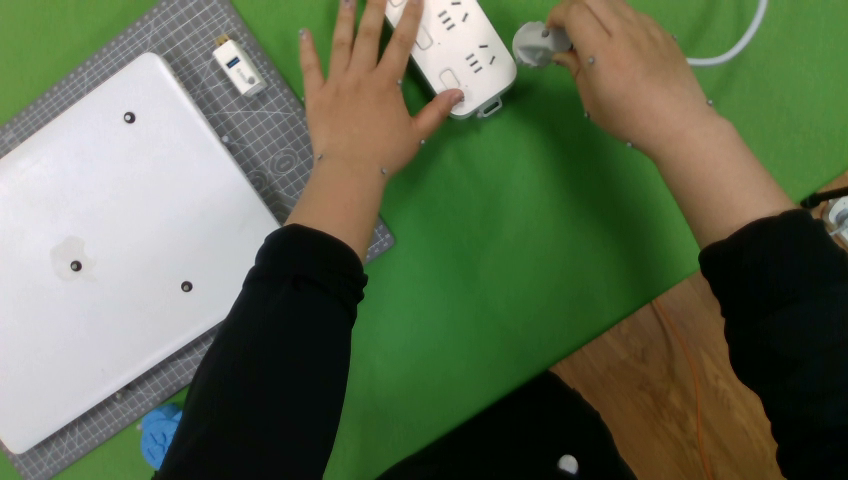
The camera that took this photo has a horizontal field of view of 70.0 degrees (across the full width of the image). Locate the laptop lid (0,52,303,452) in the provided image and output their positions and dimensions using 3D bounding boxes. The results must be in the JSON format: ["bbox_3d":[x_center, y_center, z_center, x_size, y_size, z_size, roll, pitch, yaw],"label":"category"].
[{"bbox_3d":[-0.317,0.022,0.562,0.357,0.013,0.242,-32,97,6],"label":"laptop lid"}]

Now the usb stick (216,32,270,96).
[{"bbox_3d":[-0.164,-0.159,0.538,0.021,0.027,0.059,-34,91,9],"label":"usb stick"}]

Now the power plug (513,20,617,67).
[{"bbox_3d":[0.106,-0.150,0.480,0.073,0.052,0.035,17,94,-9],"label":"power plug"}]

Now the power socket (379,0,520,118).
[{"bbox_3d":[0.002,-0.209,0.522,0.072,0.032,0.227,-33,94,8],"label":"power socket"}]

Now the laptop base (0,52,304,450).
[{"bbox_3d":[-0.317,0.019,0.574,0.354,0.023,0.236,-34,97,6],"label":"laptop base"}]

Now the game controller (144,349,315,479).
[{"bbox_3d":[-0.190,0.173,0.573,0.155,0.051,0.097,-33,89,6],"label":"game controller"}]
